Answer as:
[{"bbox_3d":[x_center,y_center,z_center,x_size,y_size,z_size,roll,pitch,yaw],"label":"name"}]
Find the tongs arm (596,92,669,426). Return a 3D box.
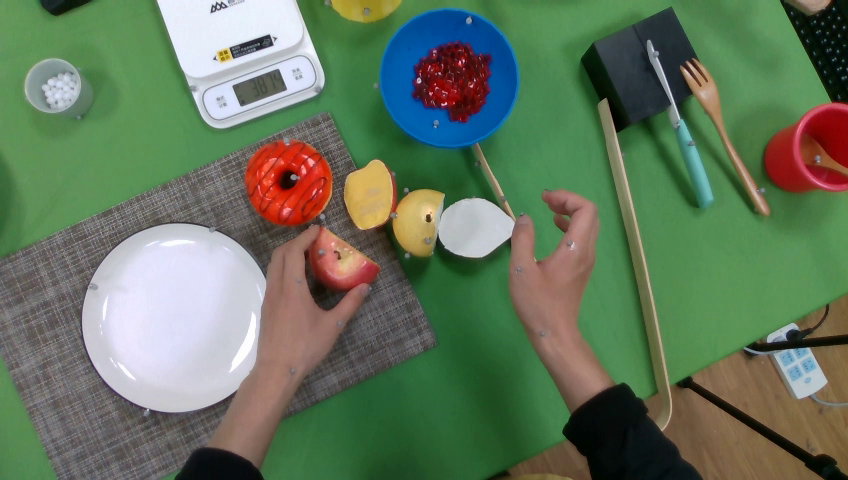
[{"bbox_3d":[0.238,0.020,0.702,0.028,0.028,0.387,-10,89,-9],"label":"tongs arm"}]

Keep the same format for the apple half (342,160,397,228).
[{"bbox_3d":[-0.054,-0.053,0.689,0.080,0.033,0.082,15,116,35],"label":"apple half"}]

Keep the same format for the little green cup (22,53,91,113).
[{"bbox_3d":[-0.411,-0.173,0.681,0.061,0.038,0.061,0,87,-2],"label":"little green cup"}]

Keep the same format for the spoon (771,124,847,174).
[{"bbox_3d":[0.461,-0.073,0.659,0.041,0.022,0.191,-31,45,-4],"label":"spoon"}]

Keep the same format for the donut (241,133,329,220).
[{"bbox_3d":[-0.156,-0.071,0.680,0.099,0.048,0.099,0,89,0],"label":"donut"}]

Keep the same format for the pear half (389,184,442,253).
[{"bbox_3d":[-0.011,-0.027,0.656,0.056,0.110,0.076,7,82,-1],"label":"pear half"}]

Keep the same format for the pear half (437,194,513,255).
[{"bbox_3d":[0.059,-0.017,0.696,0.088,0.031,0.070,1,85,12],"label":"pear half"}]

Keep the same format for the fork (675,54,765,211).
[{"bbox_3d":[0.344,-0.119,0.696,0.028,0.018,0.208,-35,104,-4],"label":"fork"}]

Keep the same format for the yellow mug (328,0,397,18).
[{"bbox_3d":[-0.086,-0.322,0.686,0.131,0.064,0.100,32,87,0],"label":"yellow mug"}]

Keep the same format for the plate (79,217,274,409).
[{"bbox_3d":[-0.268,0.079,0.673,0.209,0.038,0.209,0,87,-2],"label":"plate"}]

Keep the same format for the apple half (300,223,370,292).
[{"bbox_3d":[-0.105,0.027,0.664,0.081,0.074,0.053,44,81,-8],"label":"apple half"}]

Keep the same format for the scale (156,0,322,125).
[{"bbox_3d":[-0.216,-0.247,0.695,0.149,0.031,0.200,-21,89,-2],"label":"scale"}]

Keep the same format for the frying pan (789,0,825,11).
[{"bbox_3d":[0.236,-0.400,0.683,0.486,0.103,0.306,38,88,8],"label":"frying pan"}]

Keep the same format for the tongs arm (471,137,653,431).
[{"bbox_3d":[0.157,0.048,0.696,0.051,0.026,0.384,-25,90,-6],"label":"tongs arm"}]

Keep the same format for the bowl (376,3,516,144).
[{"bbox_3d":[0.023,-0.175,0.679,0.151,0.077,0.151,0,88,-2],"label":"bowl"}]

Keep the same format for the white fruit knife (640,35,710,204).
[{"bbox_3d":[0.284,-0.133,0.687,0.016,0.027,0.208,-27,103,-3],"label":"white fruit knife"}]
